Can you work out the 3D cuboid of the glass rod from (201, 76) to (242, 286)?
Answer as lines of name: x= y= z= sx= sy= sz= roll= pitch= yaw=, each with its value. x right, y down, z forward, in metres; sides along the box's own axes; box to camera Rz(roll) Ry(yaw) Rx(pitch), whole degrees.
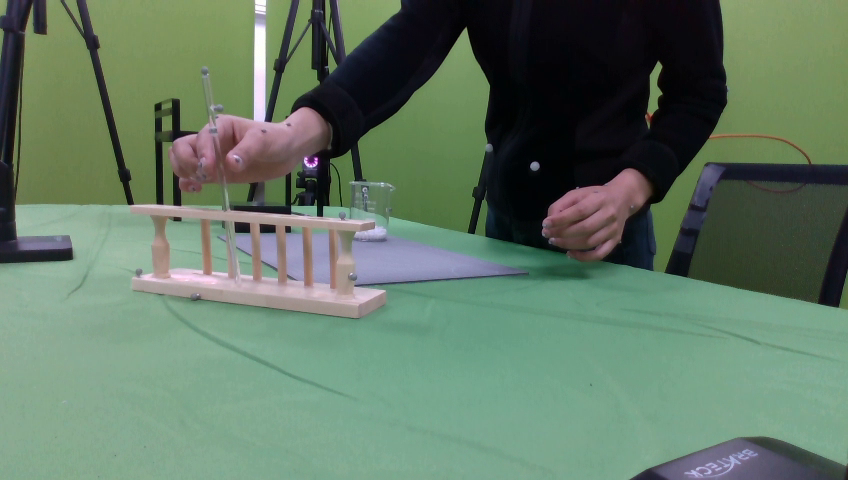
glass rod: x=-0.188 y=-0.050 z=0.564 sx=0.008 sy=0.199 sz=0.008 roll=-5 pitch=14 yaw=2

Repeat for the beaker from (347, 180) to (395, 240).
beaker: x=-0.094 y=-0.052 z=1.053 sx=0.084 sy=0.100 sz=0.074 roll=1 pitch=8 yaw=-13

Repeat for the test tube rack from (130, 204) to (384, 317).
test tube rack: x=-0.163 y=0.013 z=0.588 sx=0.242 sy=0.085 sz=0.067 roll=5 pitch=8 yaw=17
